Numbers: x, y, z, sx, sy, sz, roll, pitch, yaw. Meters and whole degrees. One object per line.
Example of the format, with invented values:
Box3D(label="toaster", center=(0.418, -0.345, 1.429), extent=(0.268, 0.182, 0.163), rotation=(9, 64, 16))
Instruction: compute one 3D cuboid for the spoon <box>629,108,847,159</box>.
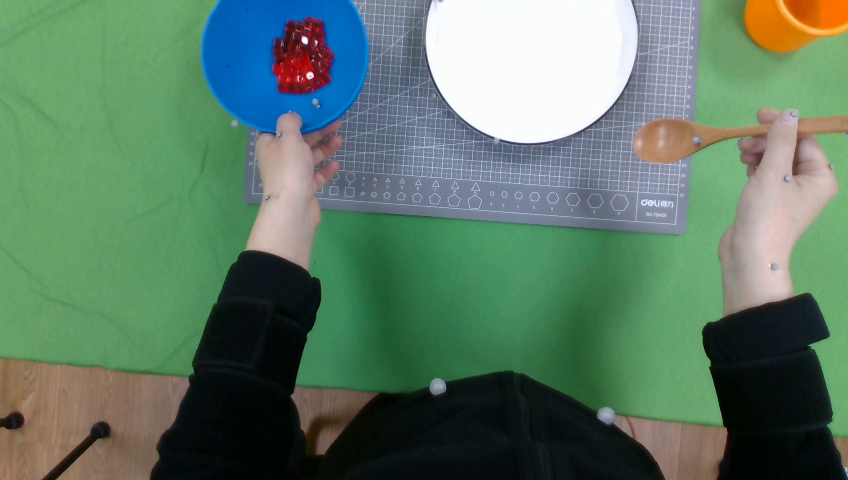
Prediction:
Box3D(label="spoon", center=(0.255, -0.089, 0.478), extent=(0.022, 0.192, 0.041), rotation=(10, 86, -40))

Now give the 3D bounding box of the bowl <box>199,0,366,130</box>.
Box3D(label="bowl", center=(-0.126, -0.173, 0.577), extent=(0.151, 0.077, 0.151), rotation=(0, 89, -1))

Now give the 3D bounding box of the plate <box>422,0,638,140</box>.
Box3D(label="plate", center=(0.102, -0.201, 0.598), extent=(0.209, 0.038, 0.209), rotation=(0, 90, 1))
